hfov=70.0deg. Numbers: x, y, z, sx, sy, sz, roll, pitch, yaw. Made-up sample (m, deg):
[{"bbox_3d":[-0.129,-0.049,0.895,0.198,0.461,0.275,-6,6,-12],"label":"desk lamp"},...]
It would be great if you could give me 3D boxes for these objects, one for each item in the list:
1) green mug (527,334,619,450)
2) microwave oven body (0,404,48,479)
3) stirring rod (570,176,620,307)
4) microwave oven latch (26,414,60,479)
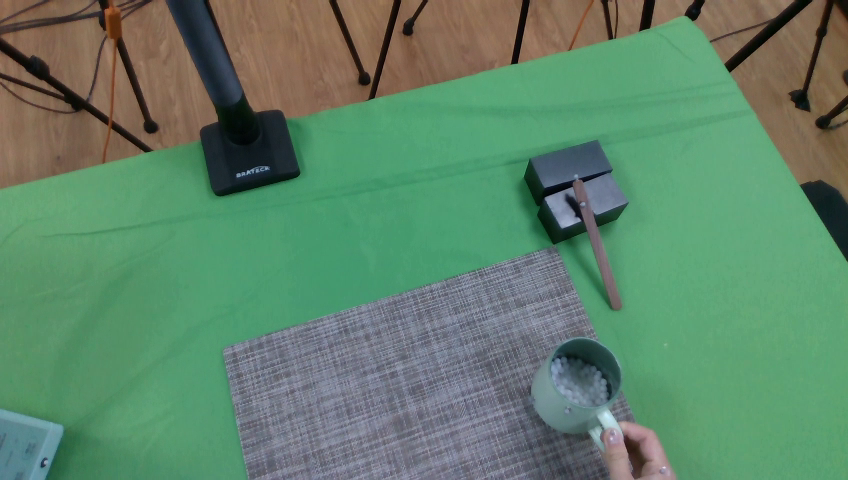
[{"bbox_3d":[0.176,0.175,0.681,0.092,0.106,0.124,-24,64,-12],"label":"green mug"},{"bbox_3d":[-0.605,0.326,0.512,0.326,0.262,0.438,10,67,2],"label":"microwave oven body"},{"bbox_3d":[0.220,0.002,0.780,0.014,0.006,0.176,-18,93,2],"label":"stirring rod"},{"bbox_3d":[-0.430,0.231,0.664,0.030,0.030,0.078,12,67,3],"label":"microwave oven latch"}]
